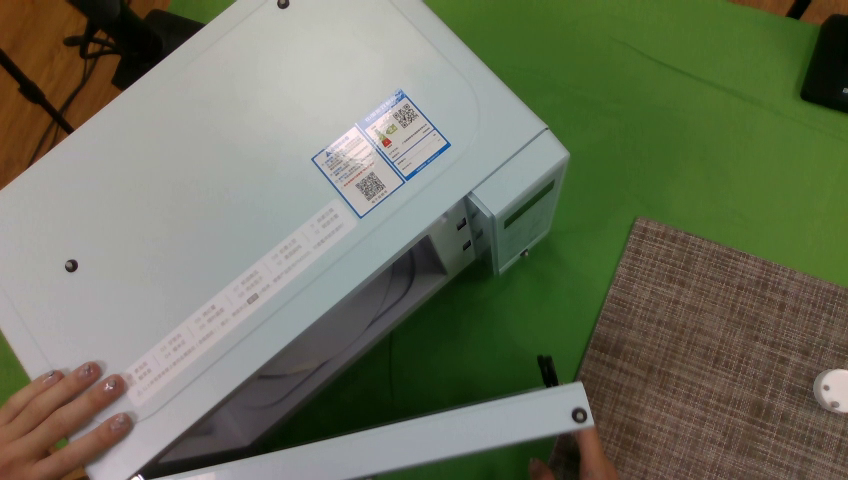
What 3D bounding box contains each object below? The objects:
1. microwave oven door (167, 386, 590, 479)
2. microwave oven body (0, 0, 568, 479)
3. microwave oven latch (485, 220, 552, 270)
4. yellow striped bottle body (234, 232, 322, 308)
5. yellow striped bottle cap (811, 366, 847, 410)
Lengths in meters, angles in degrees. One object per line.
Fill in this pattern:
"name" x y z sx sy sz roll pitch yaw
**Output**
"microwave oven door" -0.043 0.183 0.541 0.356 0.245 0.039 -14 74 4
"microwave oven body" -0.138 -0.018 0.606 0.441 0.261 0.324 -41 75 -3
"microwave oven latch" 0.104 -0.002 0.671 0.079 0.029 0.030 -38 75 -2
"yellow striped bottle body" -0.146 0.030 0.603 0.063 0.121 0.062 -1 77 4
"yellow striped bottle cap" 0.424 0.152 0.620 0.044 0.019 0.044 -2 76 9
